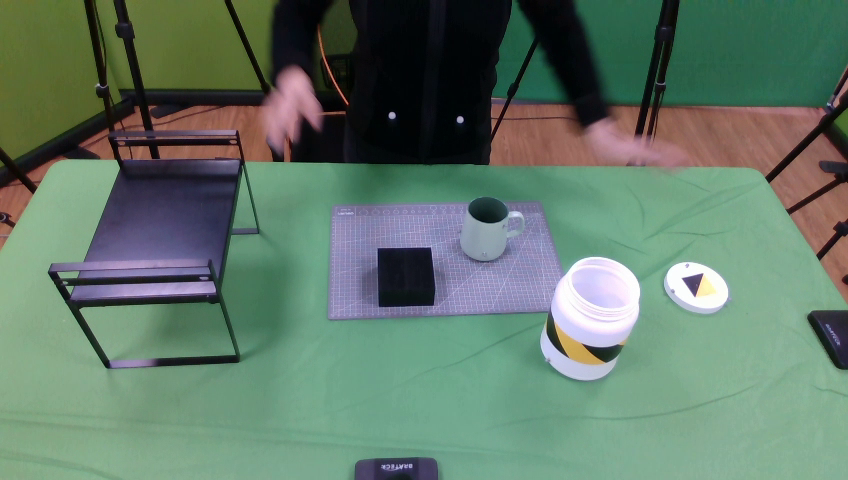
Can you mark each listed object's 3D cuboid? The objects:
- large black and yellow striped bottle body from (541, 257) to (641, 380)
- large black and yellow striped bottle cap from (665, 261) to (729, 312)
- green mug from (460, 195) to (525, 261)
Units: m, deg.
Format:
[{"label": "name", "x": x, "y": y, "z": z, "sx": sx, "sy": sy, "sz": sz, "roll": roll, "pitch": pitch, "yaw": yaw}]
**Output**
[{"label": "large black and yellow striped bottle body", "x": 0.269, "y": 0.127, "z": 0.982, "sx": 0.131, "sy": 0.185, "sz": 0.130, "roll": 2, "pitch": 47, "yaw": -2}, {"label": "large black and yellow striped bottle cap", "x": 0.518, "y": 0.087, "z": 1.153, "sx": 0.115, "sy": 0.019, "sz": 0.114, "roll": 2, "pitch": 47, "yaw": -2}, {"label": "green mug", "x": 0.134, "y": -0.024, "z": 1.168, "sx": 0.125, "sy": 0.105, "sz": 0.092, "roll": -8, "pitch": 47, "yaw": -12}]
